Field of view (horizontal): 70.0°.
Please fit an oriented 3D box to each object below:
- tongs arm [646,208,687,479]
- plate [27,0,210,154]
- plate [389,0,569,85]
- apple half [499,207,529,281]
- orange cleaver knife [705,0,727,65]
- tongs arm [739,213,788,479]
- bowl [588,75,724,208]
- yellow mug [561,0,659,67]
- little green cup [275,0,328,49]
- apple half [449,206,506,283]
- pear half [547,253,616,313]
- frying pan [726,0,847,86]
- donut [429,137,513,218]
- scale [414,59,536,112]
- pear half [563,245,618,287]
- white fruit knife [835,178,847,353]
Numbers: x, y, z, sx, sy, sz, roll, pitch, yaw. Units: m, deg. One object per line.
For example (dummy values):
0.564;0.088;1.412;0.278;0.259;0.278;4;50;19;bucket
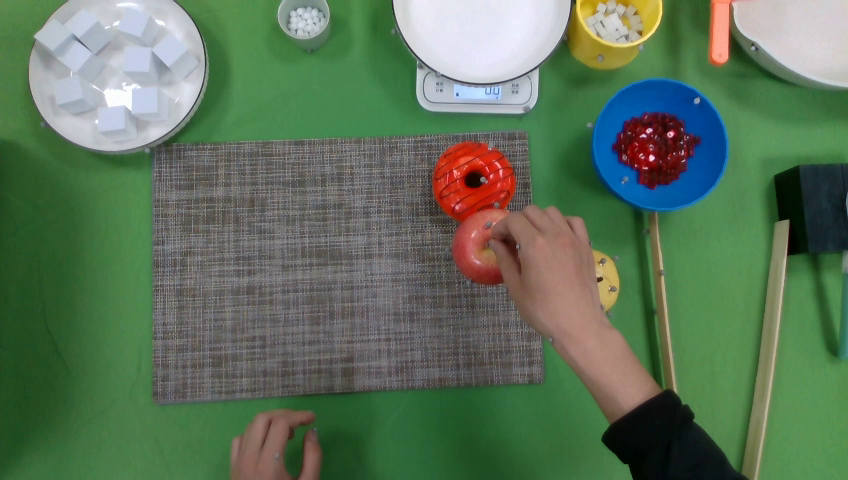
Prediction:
0.297;0.153;0.696;0.051;0.026;0.383;-2;85;-5;tongs arm
-0.357;-0.200;0.721;0.208;0.039;0.207;0;83;-1;plate
0.063;-0.278;0.709;0.209;0.038;0.208;0;83;-2;plate
0.093;0.005;0.638;0.033;0.081;0.081;4;83;-4;apple half
0.352;-0.304;0.696;0.077;0.012;0.210;2;84;2;orange cleaver knife
0.383;0.157;0.700;0.028;0.028;0.386;13;84;-7;tongs arm
0.256;-0.105;0.703;0.151;0.077;0.151;0;84;-1;bowl
0.212;-0.280;0.727;0.100;0.064;0.130;-35;84;-4;yellow mug
-0.145;-0.264;0.733;0.061;0.039;0.061;0;83;-1;little green cup
0.053;0.004;0.633;0.053;0.074;0.080;5;89;-4;apple half
0.172;0.052;0.667;0.076;0.110;0.056;29;84;7;pear half
0.539;-0.232;0.709;0.307;0.103;0.485;-30;77;-3;frying pan
0.054;-0.072;0.708;0.099;0.048;0.099;0;84;1;donut
0.063;-0.259;0.739;0.149;0.031;0.200;1;84;-1;scale
0.191;0.024;0.681;0.070;0.088;0.031;28;84;5;pear half
0.482;0.032;0.691;0.016;0.027;0.208;-5;98;-2;white fruit knife
